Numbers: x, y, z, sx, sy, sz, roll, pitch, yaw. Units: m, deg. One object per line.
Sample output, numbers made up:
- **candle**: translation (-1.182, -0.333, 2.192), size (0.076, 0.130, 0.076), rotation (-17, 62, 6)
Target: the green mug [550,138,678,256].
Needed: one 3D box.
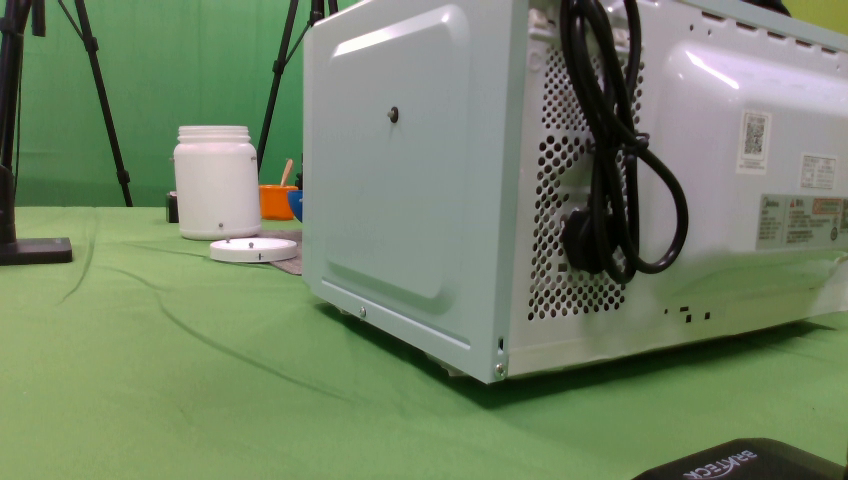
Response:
- **green mug**: translation (0.178, -0.037, 0.582), size (0.124, 0.105, 0.093), rotation (-1, 0, 42)

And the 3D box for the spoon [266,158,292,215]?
- **spoon**: translation (-0.334, -0.127, 1.423), size (0.041, 0.193, 0.022), rotation (0, -37, 7)

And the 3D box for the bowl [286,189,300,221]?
- **bowl**: translation (-0.179, -0.051, 1.115), size (0.151, 0.077, 0.151), rotation (3, 8, 0)

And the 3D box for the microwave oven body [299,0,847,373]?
- **microwave oven body**: translation (0.152, -0.055, 0.542), size (0.444, 0.260, 0.324), rotation (-2, 7, -33)

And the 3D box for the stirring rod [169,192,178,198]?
- **stirring rod**: translation (-0.465, -0.098, 1.283), size (0.014, 0.006, 0.177), rotation (42, 22, 17)

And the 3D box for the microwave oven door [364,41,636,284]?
- **microwave oven door**: translation (0.104, -0.081, 0.695), size (0.358, 0.243, 0.039), rotation (-2, 8, -30)

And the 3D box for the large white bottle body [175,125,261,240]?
- **large white bottle body**: translation (-0.349, -0.100, 1.025), size (0.131, 0.184, 0.130), rotation (-1, 9, 0)

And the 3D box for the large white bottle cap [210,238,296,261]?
- **large white bottle cap**: translation (-0.236, 0.013, 0.839), size (0.115, 0.018, 0.115), rotation (2, 7, 0)

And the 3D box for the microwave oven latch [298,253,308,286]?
- **microwave oven latch**: translation (-0.081, 0.027, 0.583), size (0.079, 0.029, 0.030), rotation (-2, 7, -32)
